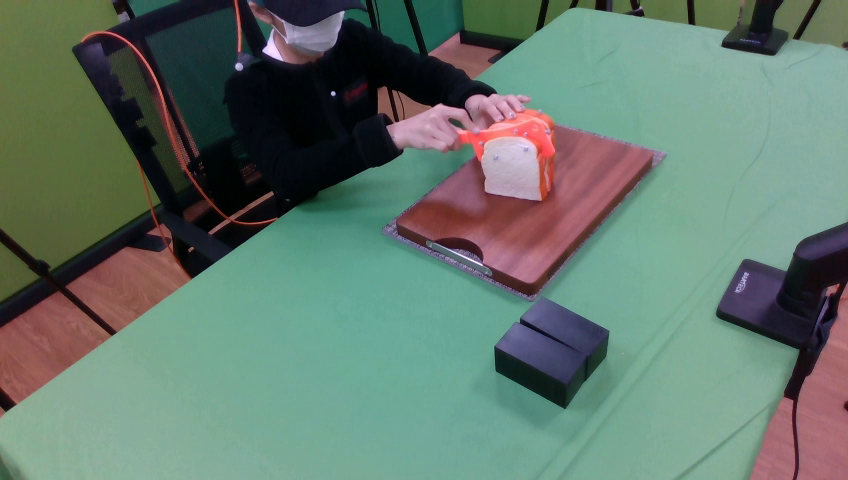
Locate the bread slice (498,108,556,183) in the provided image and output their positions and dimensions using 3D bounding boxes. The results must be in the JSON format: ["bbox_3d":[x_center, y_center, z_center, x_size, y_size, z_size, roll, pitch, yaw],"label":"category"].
[{"bbox_3d":[0.170,-0.156,1.006,0.106,0.135,0.018,15,48,19],"label":"bread slice"}]

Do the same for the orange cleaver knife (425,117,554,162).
[{"bbox_3d":[0.102,-0.154,0.969,0.210,0.077,0.012,0,38,27],"label":"orange cleaver knife"}]

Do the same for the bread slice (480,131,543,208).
[{"bbox_3d":[0.137,-0.110,0.960,0.104,0.132,0.019,7,39,18],"label":"bread slice"}]
